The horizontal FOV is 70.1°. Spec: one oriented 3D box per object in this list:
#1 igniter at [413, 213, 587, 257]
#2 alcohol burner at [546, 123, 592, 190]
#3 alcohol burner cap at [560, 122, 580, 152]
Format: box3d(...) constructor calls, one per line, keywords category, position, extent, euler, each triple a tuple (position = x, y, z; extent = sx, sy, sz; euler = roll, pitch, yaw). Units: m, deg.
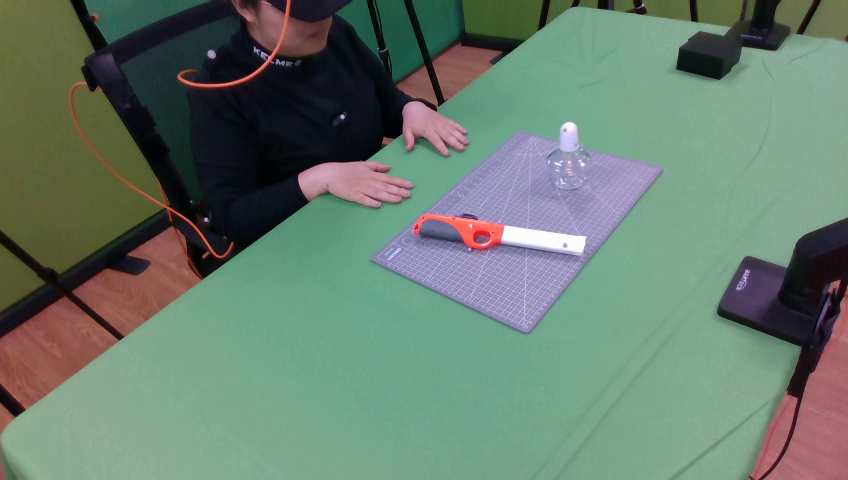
box3d(category="igniter", position=(0.116, -0.009, 0.959), extent=(0.275, 0.025, 0.057), euler=(8, 65, 17))
box3d(category="alcohol burner", position=(0.248, -0.147, 1.034), extent=(0.078, 0.120, 0.077), euler=(-7, 41, 6))
box3d(category="alcohol burner cap", position=(0.244, -0.174, 1.011), extent=(0.034, 0.048, 0.033), euler=(-8, 40, 7))
